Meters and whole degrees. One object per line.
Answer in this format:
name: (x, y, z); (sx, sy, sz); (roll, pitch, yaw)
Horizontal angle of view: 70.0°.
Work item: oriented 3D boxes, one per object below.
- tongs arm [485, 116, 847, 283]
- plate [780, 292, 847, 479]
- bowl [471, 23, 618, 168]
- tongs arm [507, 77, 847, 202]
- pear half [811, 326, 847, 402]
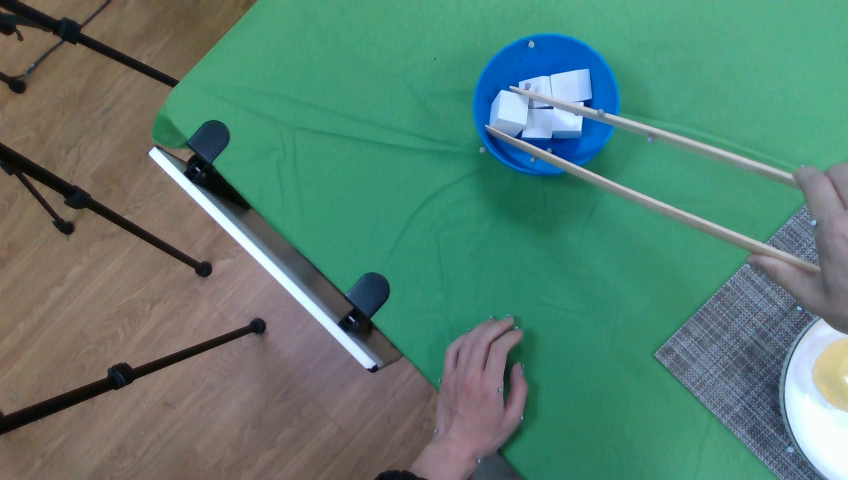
tongs arm: (0.198, -0.049, 0.532); (0.383, 0.028, 0.028); (32, 91, 39)
plate: (0.469, 0.150, 0.618); (0.207, 0.039, 0.207); (-1, 85, 6)
bowl: (0.127, -0.146, 0.660); (0.151, 0.077, 0.151); (-1, 85, 6)
tongs arm: (0.214, -0.076, 0.529); (0.381, 0.027, 0.051); (30, 93, 39)
pear half: (0.457, 0.116, 0.608); (0.110, 0.056, 0.076); (-34, 87, -2)
